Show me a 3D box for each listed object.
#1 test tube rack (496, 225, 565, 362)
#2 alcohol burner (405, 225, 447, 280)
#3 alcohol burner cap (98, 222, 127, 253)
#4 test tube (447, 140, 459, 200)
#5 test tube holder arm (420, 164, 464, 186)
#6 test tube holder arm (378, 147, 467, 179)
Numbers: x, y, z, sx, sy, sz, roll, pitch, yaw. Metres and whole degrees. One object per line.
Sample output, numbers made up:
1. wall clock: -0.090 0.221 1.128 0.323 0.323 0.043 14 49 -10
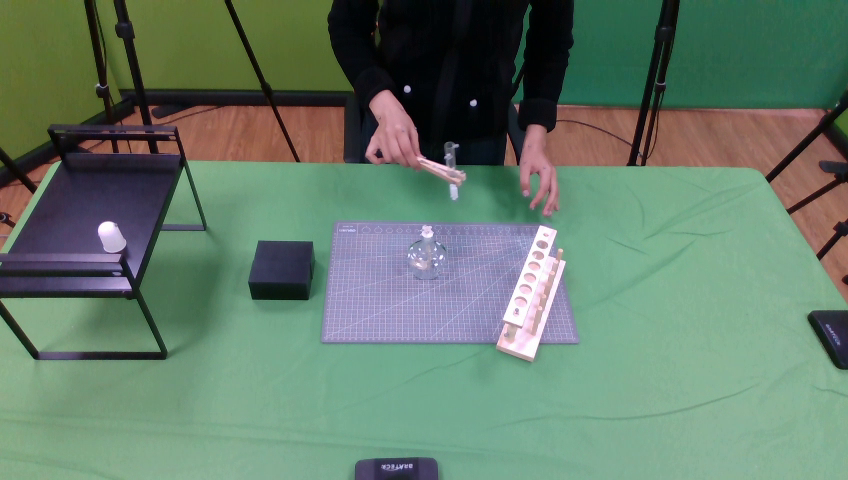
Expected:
1. test tube rack: 0.200 0.089 1.080 0.066 0.085 0.241 19 48 13
2. alcohol burner: 0.005 0.017 1.115 0.078 0.120 0.077 1 47 -1
3. alcohol burner cap: -0.468 -0.007 0.905 0.034 0.048 0.033 3 46 -3
4. test tube: 0.052 -0.121 1.078 0.017 0.151 0.017 -3 56 4
5. test tube holder arm: 0.032 -0.121 1.092 0.087 0.015 0.010 28 69 22
6. test tube holder arm: -0.005 -0.141 1.109 0.178 0.015 0.013 20 66 18
